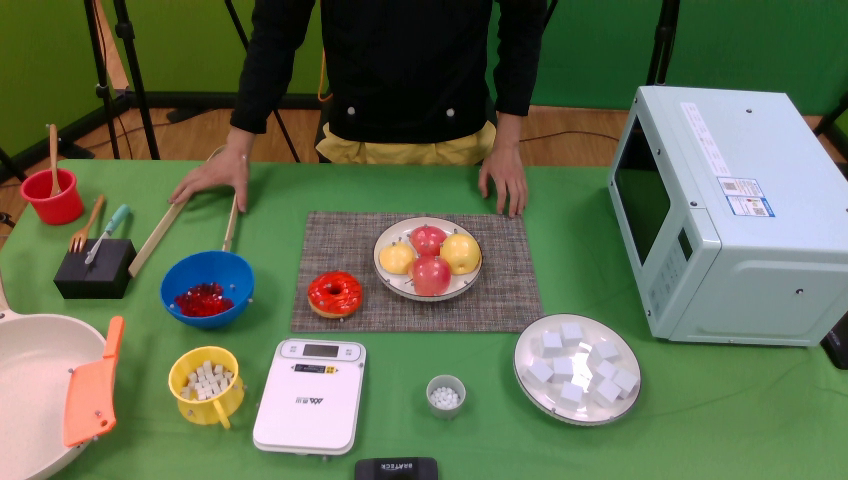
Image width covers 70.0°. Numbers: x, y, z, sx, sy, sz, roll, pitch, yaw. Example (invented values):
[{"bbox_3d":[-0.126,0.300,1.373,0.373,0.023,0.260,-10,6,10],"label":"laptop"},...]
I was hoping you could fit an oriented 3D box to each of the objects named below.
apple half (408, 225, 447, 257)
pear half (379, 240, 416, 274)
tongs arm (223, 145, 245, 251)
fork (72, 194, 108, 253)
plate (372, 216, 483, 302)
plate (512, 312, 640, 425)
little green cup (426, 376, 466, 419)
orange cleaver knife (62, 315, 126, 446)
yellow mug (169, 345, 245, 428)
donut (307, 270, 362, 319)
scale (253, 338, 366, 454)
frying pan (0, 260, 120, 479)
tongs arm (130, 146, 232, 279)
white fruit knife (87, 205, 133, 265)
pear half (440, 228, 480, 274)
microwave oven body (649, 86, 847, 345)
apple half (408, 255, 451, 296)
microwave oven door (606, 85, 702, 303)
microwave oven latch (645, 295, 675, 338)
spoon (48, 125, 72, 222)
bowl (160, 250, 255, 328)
[{"bbox_3d":[0.011,-0.006,1.176,0.081,0.033,0.081,2,53,-3],"label":"apple half"},{"bbox_3d":[-0.048,0.024,1.146,0.070,0.031,0.087,12,47,-12],"label":"pear half"},{"bbox_3d":[-0.400,-0.068,1.227,0.051,0.027,0.382,-4,45,0],"label":"tongs arm"},{"bbox_3d":[-0.634,-0.036,1.158,0.028,0.019,0.206,-8,32,-8],"label":"fork"},{"bbox_3d":[0.006,0.038,1.145,0.209,0.038,0.208,2,46,-2],"label":"plate"},{"bbox_3d":[0.246,0.213,0.999,0.208,0.039,0.206,2,46,-2],"label":"plate"},{"bbox_3d":[0.033,0.248,0.950,0.061,0.039,0.061,2,46,-2],"label":"little green cup"},{"bbox_3d":[-0.480,0.199,0.887,0.077,0.012,0.210,-9,47,-8],"label":"orange cleaver knife"},{"bbox_3d":[-0.322,0.230,0.922,0.100,0.064,0.130,-24,53,-25],"label":"yellow mug"},{"bbox_3d":[-0.157,0.097,1.073,0.099,0.048,0.098,4,45,-4],"label":"donut"},{"bbox_3d":[-0.175,0.236,0.951,0.149,0.032,0.199,5,45,-1],"label":"scale"},{"bbox_3d":[-0.647,0.164,0.936,0.307,0.103,0.485,-19,58,-22],"label":"frying pan"},{"bbox_3d":[-0.486,-0.070,1.230,0.028,0.028,0.385,4,45,13],"label":"tongs arm"},{"bbox_3d":[-0.584,-0.013,1.129,0.016,0.027,0.206,-1,32,-4],"label":"white fruit knife"},{"bbox_3d":[0.065,0.007,1.150,0.076,0.056,0.109,-11,44,-2],"label":"pear half"},{"bbox_3d":[0.567,-0.053,1.118,0.326,0.261,0.439,2,45,-1],"label":"microwave oven body"},{"bbox_3d":[0.012,0.058,1.103,0.075,0.053,0.080,-6,43,-13],"label":"apple half"},{"bbox_3d":[0.422,-0.094,1.140,0.039,0.245,0.353,2,46,-1],"label":"microwave oven door"},{"bbox_3d":[0.411,0.134,1.061,0.030,0.029,0.078,3,45,0],"label":"microwave oven latch"},{"bbox_3d":[-0.719,-0.131,1.189,0.041,0.021,0.193,-3,91,-6],"label":"spoon"},{"bbox_3d":[-0.362,0.098,1.040,0.151,0.077,0.150,2,45,-2],"label":"bowl"}]
